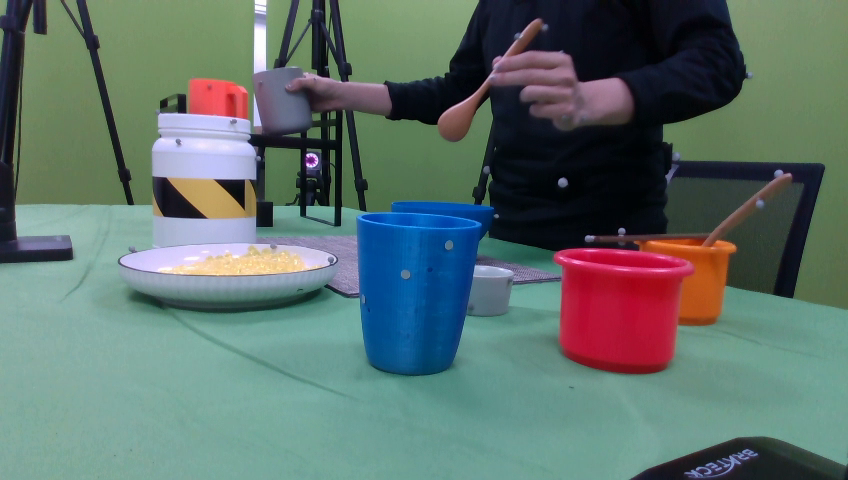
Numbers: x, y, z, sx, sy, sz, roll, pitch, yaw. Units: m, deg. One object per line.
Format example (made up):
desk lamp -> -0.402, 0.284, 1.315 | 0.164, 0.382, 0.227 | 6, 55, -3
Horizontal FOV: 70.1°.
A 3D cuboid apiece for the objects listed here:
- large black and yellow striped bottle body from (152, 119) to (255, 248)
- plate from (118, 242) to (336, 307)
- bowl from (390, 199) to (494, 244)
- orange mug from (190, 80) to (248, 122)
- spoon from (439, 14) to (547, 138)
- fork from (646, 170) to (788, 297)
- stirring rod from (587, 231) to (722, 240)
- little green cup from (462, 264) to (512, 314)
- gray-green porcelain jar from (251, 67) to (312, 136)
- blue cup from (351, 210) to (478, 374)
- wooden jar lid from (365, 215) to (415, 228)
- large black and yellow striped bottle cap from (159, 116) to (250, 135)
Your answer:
large black and yellow striped bottle body -> -0.296, -0.070, 0.819 | 0.131, 0.184, 0.130 | 2, 7, 0
plate -> -0.194, 0.033, 0.615 | 0.209, 0.038, 0.209 | 2, 7, 0
bowl -> 0.024, -0.015, 0.872 | 0.151, 0.077, 0.151 | 3, 7, 0
orange mug -> -0.394, -0.257, 1.173 | 0.126, 0.100, 0.084 | 1, 6, 25
spoon -> 0.082, -0.199, 0.743 | 0.041, 0.193, 0.021 | 41, 28, -1
fork -> 0.256, 0.004, 0.543 | 0.028, 0.018, 0.207 | 3, -37, -10
stirring rod -> 0.227, -0.005, 0.585 | 0.177, 0.006, 0.014 | -1, 6, -28
little green cup -> 0.053, 0.047, 0.580 | 0.061, 0.038, 0.061 | 3, 8, 0
gray-green porcelain jar -> -0.291, -0.283, 1.247 | 0.106, 0.126, 0.106 | -10, 11, 2
blue cup -> -0.009, 0.034, 0.414 | 0.093, 0.100, 0.092 | 4, 8, 0
wooden jar lid -> -0.073, -0.040, 1.291 | 0.108, 0.020, 0.108 | 3, 8, 0
large black and yellow striped bottle cap -> -0.292, -0.153, 0.810 | 0.115, 0.019, 0.115 | 3, 9, 0
